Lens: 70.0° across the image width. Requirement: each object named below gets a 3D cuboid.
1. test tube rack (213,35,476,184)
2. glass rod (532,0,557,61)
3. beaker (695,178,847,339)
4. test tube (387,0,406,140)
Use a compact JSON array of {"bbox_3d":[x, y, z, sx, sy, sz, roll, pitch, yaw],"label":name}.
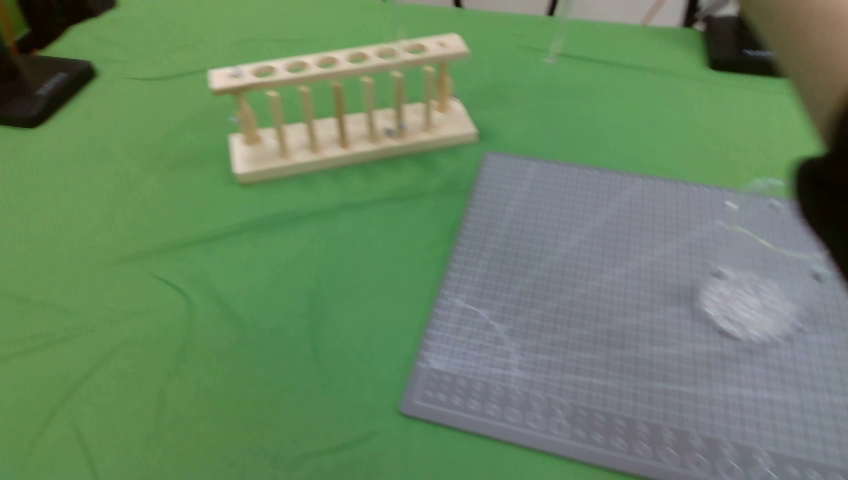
[{"bbox_3d":[-0.072,-0.130,0.596,0.243,0.086,0.066,-12,47,-10],"label":"test tube rack"},{"bbox_3d":[0.083,-0.180,0.332,0.008,0.201,0.008,3,56,-3],"label":"glass rod"},{"bbox_3d":[0.241,0.017,0.435,0.084,0.101,0.073,-2,46,0],"label":"beaker"},{"bbox_3d":[-0.025,-0.158,0.559,0.017,0.151,0.017,1,44,0],"label":"test tube"}]
